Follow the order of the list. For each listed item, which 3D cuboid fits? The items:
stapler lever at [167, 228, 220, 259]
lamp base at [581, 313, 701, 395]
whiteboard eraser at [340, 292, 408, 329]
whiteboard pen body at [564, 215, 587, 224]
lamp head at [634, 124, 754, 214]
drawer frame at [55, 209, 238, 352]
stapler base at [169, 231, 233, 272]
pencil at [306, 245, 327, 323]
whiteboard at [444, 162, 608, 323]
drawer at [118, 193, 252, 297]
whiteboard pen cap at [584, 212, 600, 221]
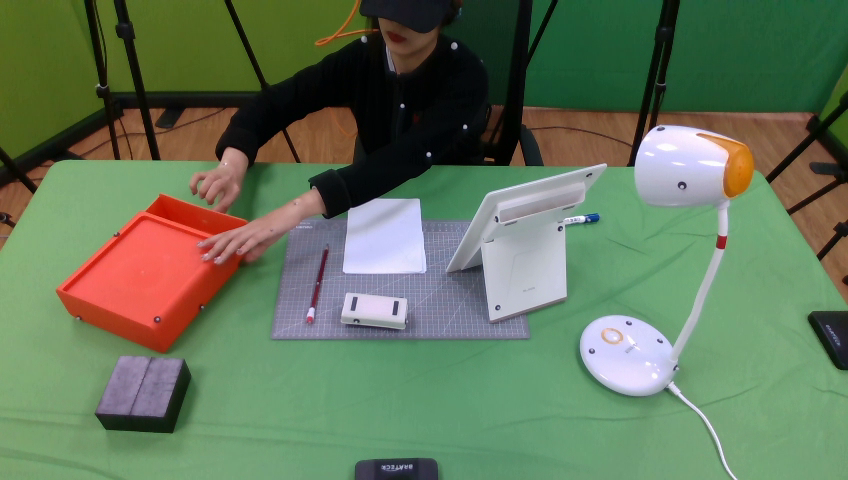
[{"bbox_3d":[-0.428,0.005,1.120,0.118,0.040,0.027,21,65,18],"label":"stapler lever"},{"bbox_3d":[0.361,0.144,0.973,0.178,0.181,0.160,34,53,23],"label":"lamp base"},{"bbox_3d":[-0.087,0.125,1.052,0.113,0.042,0.055,5,45,1],"label":"whiteboard eraser"},{"bbox_3d":[0.291,-0.040,1.261,0.141,0.017,0.017,-6,47,-11],"label":"whiteboard pen body"},{"bbox_3d":[0.351,-0.089,0.775,0.112,0.113,0.122,-30,30,-28],"label":"lamp head"},{"bbox_3d":[-0.473,0.064,1.058,0.201,0.083,0.213,18,48,12],"label":"drawer frame"},{"bbox_3d":[-0.424,0.018,1.143,0.130,0.024,0.041,22,65,17],"label":"stapler base"},{"bbox_3d":[-0.196,0.076,1.115,0.012,0.012,0.193,4,44,0],"label":"pencil"},{"bbox_3d":[0.186,0.025,1.028,0.217,0.306,0.143,-14,68,-18],"label":"whiteboard"},{"bbox_3d":[-0.453,0.026,1.098,0.194,0.073,0.211,18,48,12],"label":"drawer"},{"bbox_3d":[0.351,-0.049,1.271,0.033,0.018,0.018,-7,47,-11],"label":"whiteboard pen cap"}]
